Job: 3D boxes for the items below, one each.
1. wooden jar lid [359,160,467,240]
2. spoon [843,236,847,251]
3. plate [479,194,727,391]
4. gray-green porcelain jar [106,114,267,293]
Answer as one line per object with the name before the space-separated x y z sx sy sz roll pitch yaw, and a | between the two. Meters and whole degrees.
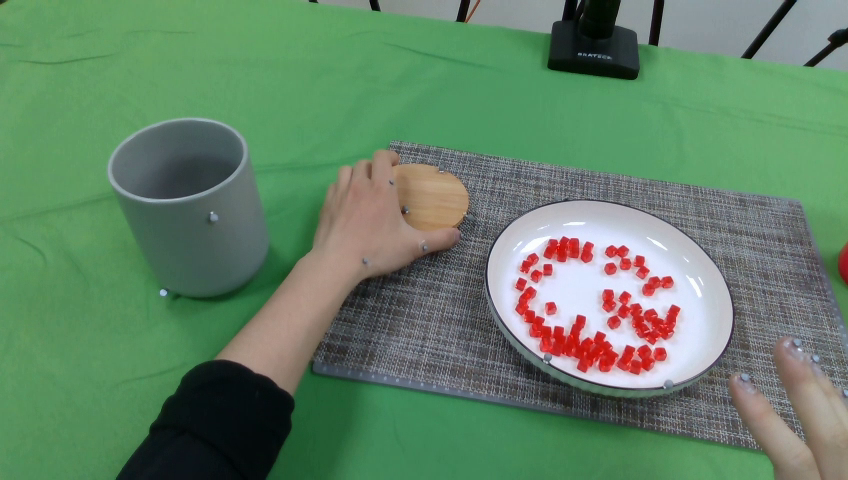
wooden jar lid | -0.011 -0.040 0.608 0.108 0.021 0.107 2 47 -2
spoon | 0.470 -0.012 0.519 0.193 0.022 0.041 -9 27 47
plate | 0.150 0.043 0.528 0.208 0.039 0.205 2 48 -1
gray-green porcelain jar | -0.194 -0.025 0.517 0.106 0.127 0.105 2 47 -2
